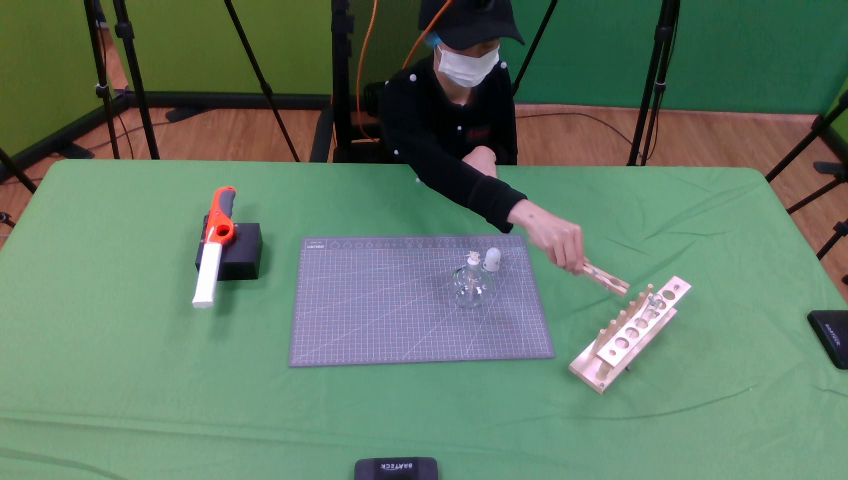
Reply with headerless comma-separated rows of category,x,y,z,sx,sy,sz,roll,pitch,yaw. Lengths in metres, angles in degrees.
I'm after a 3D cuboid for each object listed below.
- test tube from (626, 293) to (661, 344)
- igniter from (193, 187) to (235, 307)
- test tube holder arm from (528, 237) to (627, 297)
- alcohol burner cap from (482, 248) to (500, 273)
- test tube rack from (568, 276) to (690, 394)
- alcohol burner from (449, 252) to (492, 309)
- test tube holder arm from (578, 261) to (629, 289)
test tube,0.355,0.133,0.984,0.017,0.151,0.017,1,52,-1
igniter,-0.379,0.003,1.096,0.057,0.025,0.274,-1,49,-6
test tube holder arm,0.251,0.042,1.001,0.178,0.015,0.013,30,54,17
alcohol burner cap,0.130,0.037,1.156,0.034,0.048,0.033,1,46,-1
test tube rack,0.354,0.149,1.039,0.242,0.085,0.066,-34,56,-31
alcohol burner,0.084,0.066,1.074,0.078,0.120,0.077,1,44,-1
test tube holder arm,0.292,0.059,0.991,0.087,0.015,0.010,27,54,15
